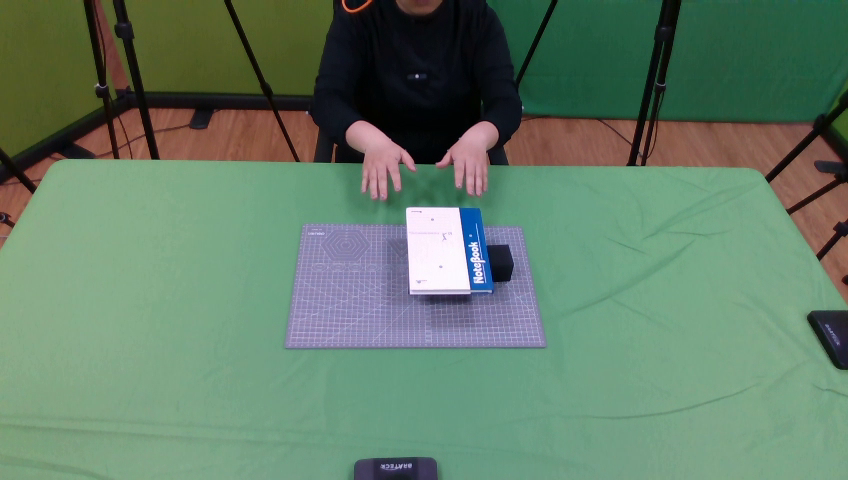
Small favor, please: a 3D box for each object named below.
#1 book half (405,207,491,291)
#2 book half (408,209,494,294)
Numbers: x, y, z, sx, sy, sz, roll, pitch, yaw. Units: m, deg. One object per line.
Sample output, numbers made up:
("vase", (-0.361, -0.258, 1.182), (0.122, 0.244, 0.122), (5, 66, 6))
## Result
("book half", (0.039, 0.011, 1.113), (0.143, 0.007, 0.208), (0, 46, -5))
("book half", (0.042, 0.016, 1.119), (0.149, 0.016, 0.209), (0, 46, -5))
